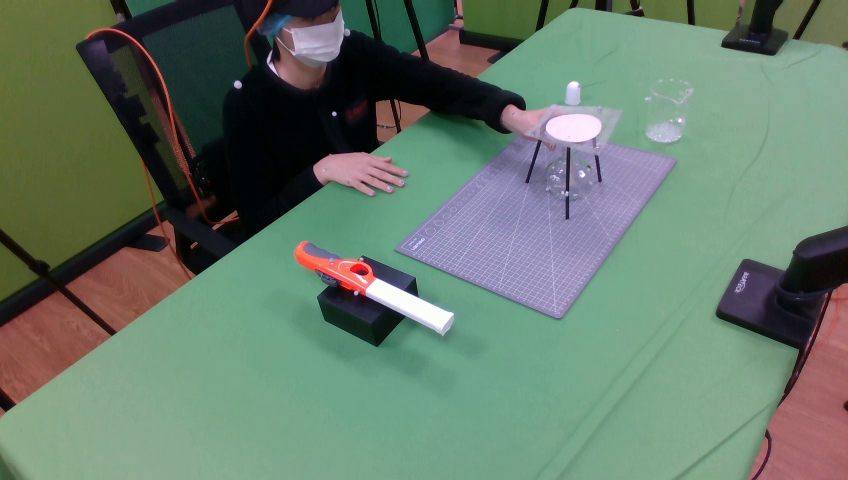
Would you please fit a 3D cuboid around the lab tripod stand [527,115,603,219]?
[{"bbox_3d":[0.234,-0.129,1.002,0.148,0.132,0.147,-6,40,6],"label":"lab tripod stand"}]

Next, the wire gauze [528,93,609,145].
[{"bbox_3d":[0.225,-0.188,0.943,0.121,0.011,0.124,6,48,9],"label":"wire gauze"}]

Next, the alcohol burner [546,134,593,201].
[{"bbox_3d":[0.243,-0.126,1.012,0.078,0.119,0.077,-5,41,5],"label":"alcohol burner"}]

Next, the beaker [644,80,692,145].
[{"bbox_3d":[0.451,-0.233,1.122,0.074,0.101,0.083,-8,40,1],"label":"beaker"}]

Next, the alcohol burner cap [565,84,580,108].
[{"bbox_3d":[0.315,-0.307,1.278,0.034,0.048,0.033,-4,42,4],"label":"alcohol burner cap"}]

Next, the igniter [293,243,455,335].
[{"bbox_3d":[-0.079,0.062,0.837,0.274,0.025,0.057,23,48,27],"label":"igniter"}]
